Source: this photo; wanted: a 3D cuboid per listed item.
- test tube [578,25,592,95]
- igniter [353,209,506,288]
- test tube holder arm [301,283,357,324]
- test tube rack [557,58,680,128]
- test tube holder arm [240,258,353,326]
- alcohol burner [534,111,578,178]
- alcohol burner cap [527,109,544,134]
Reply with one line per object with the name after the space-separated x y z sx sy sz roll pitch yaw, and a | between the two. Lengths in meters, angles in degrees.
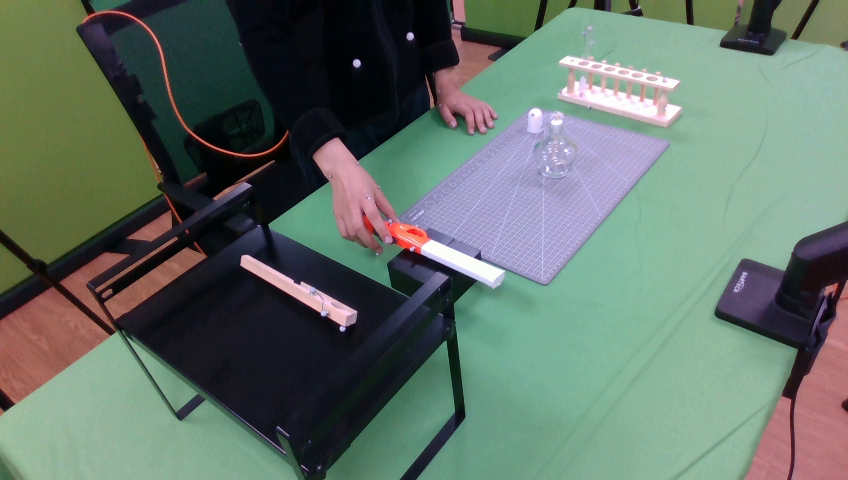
0.326 -0.362 1.227 0.017 0.151 0.017 -3 44 4 | test tube
-0.003 0.006 0.892 0.274 0.025 0.057 24 37 31 | igniter
-0.105 0.066 0.638 0.087 0.015 0.010 22 14 33 | test tube holder arm
0.395 -0.309 1.230 0.240 0.085 0.067 25 50 33 | test tube rack
-0.143 0.053 0.658 0.177 0.015 0.013 21 14 33 | test tube holder arm
0.232 -0.170 1.065 0.078 0.119 0.077 -5 39 4 | alcohol burner
0.222 -0.238 1.203 0.034 0.048 0.033 -5 41 5 | alcohol burner cap
